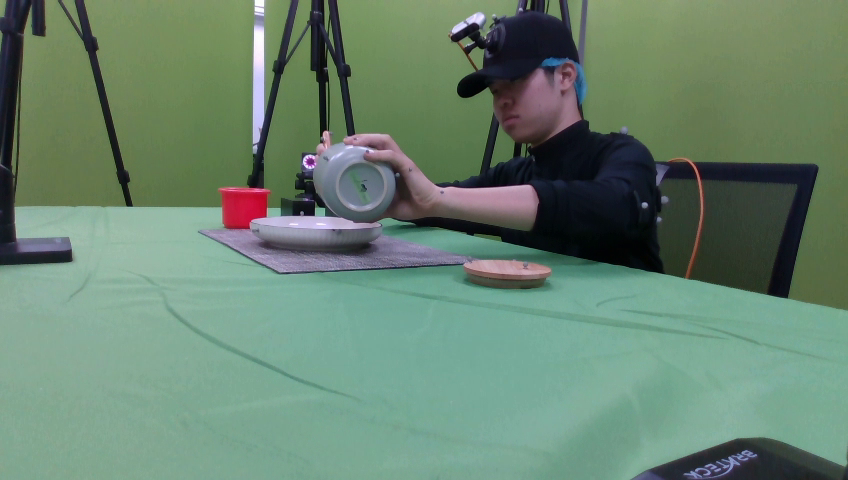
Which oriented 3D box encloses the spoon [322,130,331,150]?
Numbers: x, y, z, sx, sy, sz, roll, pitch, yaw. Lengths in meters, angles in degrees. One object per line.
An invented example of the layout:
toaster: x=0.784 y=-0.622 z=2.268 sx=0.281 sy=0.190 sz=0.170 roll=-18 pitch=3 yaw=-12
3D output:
spoon: x=-0.157 y=-0.129 z=1.003 sx=0.042 sy=0.021 sz=0.193 roll=-7 pitch=39 yaw=-10

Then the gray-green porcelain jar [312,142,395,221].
gray-green porcelain jar: x=-0.102 y=-0.085 z=0.867 sx=0.106 sy=0.106 sz=0.126 roll=0 pitch=11 yaw=-17

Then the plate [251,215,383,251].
plate: x=-0.170 y=-0.012 z=0.971 sx=0.208 sy=0.039 sz=0.207 roll=2 pitch=7 yaw=0

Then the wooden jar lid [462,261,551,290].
wooden jar lid: x=0.100 y=0.043 z=0.742 sx=0.108 sy=0.020 sz=0.108 roll=2 pitch=6 yaw=0
